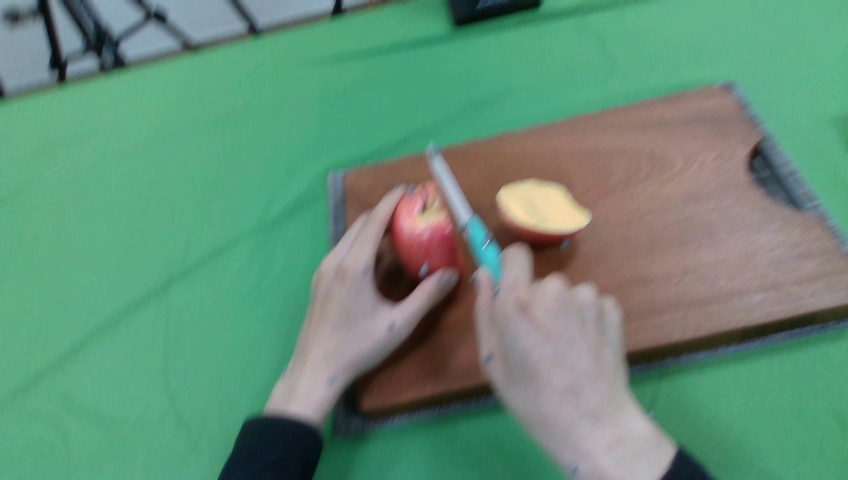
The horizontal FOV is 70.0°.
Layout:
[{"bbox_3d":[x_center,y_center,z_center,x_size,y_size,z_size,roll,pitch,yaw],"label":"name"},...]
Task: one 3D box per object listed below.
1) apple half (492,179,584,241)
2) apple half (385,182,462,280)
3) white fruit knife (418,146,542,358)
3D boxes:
[{"bbox_3d":[0.094,-0.020,0.527,0.081,0.033,0.080,7,37,-5],"label":"apple half"},{"bbox_3d":[-0.004,-0.002,0.514,0.053,0.075,0.080,-22,54,0],"label":"apple half"},{"bbox_3d":[0.033,-0.004,0.450,0.016,0.027,0.205,-16,52,-16],"label":"white fruit knife"}]
